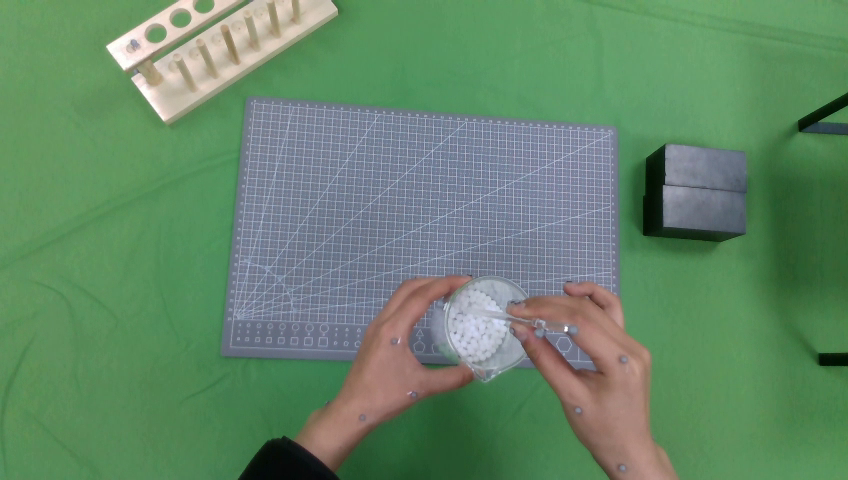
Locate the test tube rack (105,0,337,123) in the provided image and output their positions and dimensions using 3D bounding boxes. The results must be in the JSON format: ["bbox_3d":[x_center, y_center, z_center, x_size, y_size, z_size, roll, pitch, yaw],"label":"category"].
[{"bbox_3d":[-0.216,-0.238,0.678,0.242,0.085,0.066,-37,85,-11],"label":"test tube rack"}]

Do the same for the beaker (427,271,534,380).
[{"bbox_3d":[0.042,0.073,0.511,0.074,0.100,0.083,8,80,-7],"label":"beaker"}]

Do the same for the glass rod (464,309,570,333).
[{"bbox_3d":[0.061,0.059,0.452,0.008,0.199,0.008,1,86,-14],"label":"glass rod"}]
